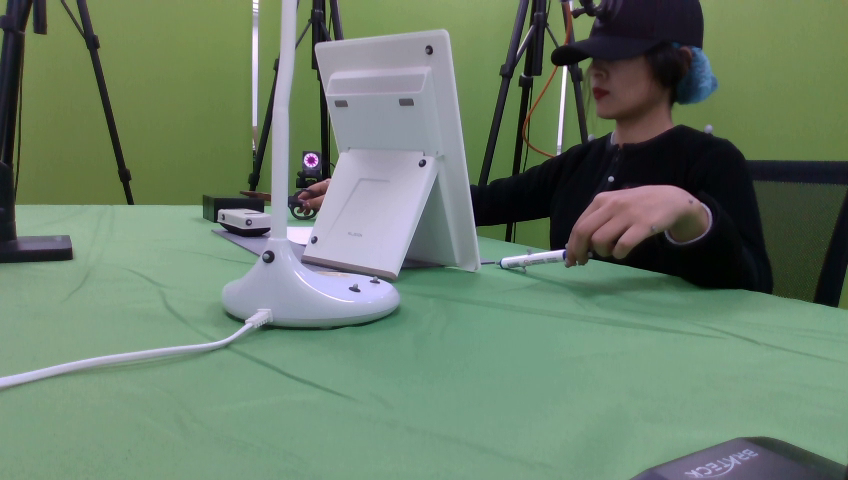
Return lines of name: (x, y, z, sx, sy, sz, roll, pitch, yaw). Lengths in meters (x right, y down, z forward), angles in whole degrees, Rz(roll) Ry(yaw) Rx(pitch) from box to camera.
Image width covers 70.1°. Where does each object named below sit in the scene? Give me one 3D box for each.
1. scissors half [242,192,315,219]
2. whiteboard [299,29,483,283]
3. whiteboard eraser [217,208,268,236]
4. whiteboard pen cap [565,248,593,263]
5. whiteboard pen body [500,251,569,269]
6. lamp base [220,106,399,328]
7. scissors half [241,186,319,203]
scissors half: (-0.317, -0.079, 1.324, 0.176, 0.040, 0.013, 18, 10, -40)
whiteboard: (-0.074, -0.082, 0.742, 0.216, 0.305, 0.144, 9, 29, 38)
whiteboard eraser: (-0.309, -0.031, 1.044, 0.056, 0.042, 0.112, -2, 9, -40)
whiteboard pen cap: (0.185, 0.019, 0.727, 0.018, 0.018, 0.033, -4, -5, -38)
whiteboard pen body: (0.150, 0.025, 0.774, 0.017, 0.017, 0.140, -3, -4, -37)
lamp base: (-0.101, -0.023, 0.531, 0.160, 0.180, 0.179, 4, 10, 10)
scissors half: (-0.311, -0.098, 1.318, 0.176, 0.040, 0.012, -4, 29, -33)
